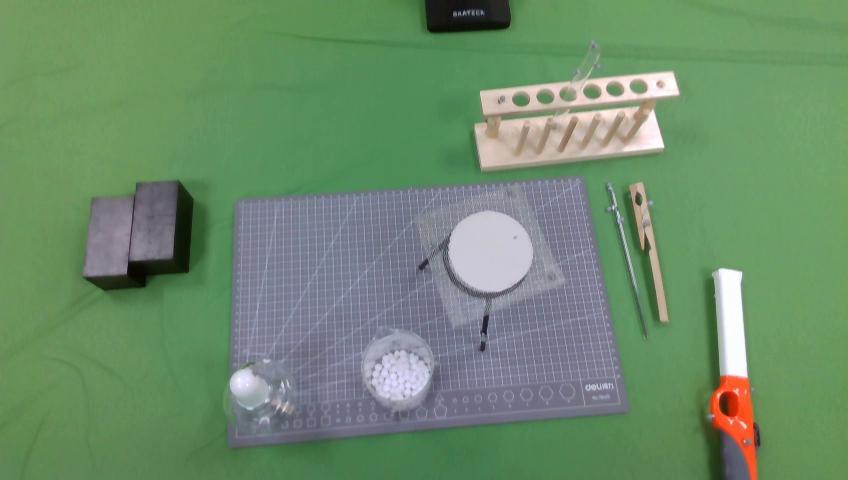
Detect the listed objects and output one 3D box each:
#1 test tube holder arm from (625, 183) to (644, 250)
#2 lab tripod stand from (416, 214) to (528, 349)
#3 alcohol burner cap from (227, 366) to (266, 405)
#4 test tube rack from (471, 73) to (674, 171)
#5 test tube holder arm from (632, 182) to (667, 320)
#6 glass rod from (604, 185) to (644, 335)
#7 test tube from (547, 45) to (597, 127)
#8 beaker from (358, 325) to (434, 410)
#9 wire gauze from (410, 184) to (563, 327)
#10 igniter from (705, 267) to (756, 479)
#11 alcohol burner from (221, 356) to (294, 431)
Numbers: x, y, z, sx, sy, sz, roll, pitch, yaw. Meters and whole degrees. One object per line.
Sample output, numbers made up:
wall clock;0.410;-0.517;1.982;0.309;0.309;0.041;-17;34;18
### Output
test tube holder arm;0.269;-0.030;0.768;0.010;0.015;0.087;-17;67;28
lab tripod stand;0.056;0.037;0.672;0.148;0.132;0.147;0;70;1
alcohol burner cap;-0.178;0.142;0.600;0.034;0.048;0.033;1;59;-1
test tube rack;0.187;-0.150;0.774;0.242;0.086;0.066;-6;69;-3
test tube holder arm;0.277;0.011;0.750;0.013;0.015;0.177;-17;67;28
glass rod;0.247;0.021;0.752;0.008;0.008;0.198;-5;69;-4
test tube;0.175;-0.181;0.733;0.017;0.151;0.017;2;68;-5
beaker;-0.031;0.140;0.650;0.074;0.101;0.083;-25;71;-10
wire gauze;0.061;0.011;0.611;0.121;0.011;0.124;-18;71;-7
igniter;0.347;0.164;0.691;0.057;0.025;0.274;10;69;-8
alcohol burner;-0.178;0.157;0.633;0.078;0.120;0.077;0;67;0
